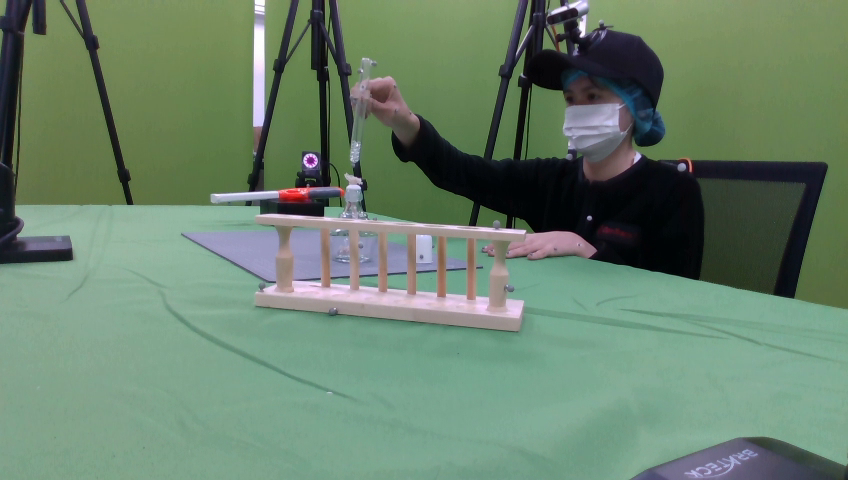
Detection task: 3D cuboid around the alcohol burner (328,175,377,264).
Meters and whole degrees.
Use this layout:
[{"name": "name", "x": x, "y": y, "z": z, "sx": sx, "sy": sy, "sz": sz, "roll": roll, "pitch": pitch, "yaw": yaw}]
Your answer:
[{"name": "alcohol burner", "x": -0.098, "y": -0.028, "z": 0.819, "sx": 0.078, "sy": 0.119, "sz": 0.078, "roll": 1, "pitch": 8, "yaw": 0}]

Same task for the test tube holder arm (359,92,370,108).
[{"name": "test tube holder arm", "x": -0.089, "y": -0.207, "z": 0.896, "sx": 0.010, "sy": 0.015, "sz": 0.087, "roll": 12, "pitch": 5, "yaw": -11}]

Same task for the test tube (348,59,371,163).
[{"name": "test tube", "x": -0.094, "y": -0.186, "z": 0.874, "sx": 0.017, "sy": 0.150, "sz": 0.017, "roll": 8, "pitch": 2, "yaw": 0}]

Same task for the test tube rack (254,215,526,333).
[{"name": "test tube rack", "x": -0.030, "y": 0.025, "z": 0.558, "sx": 0.242, "sy": 0.085, "sz": 0.067, "roll": 4, "pitch": 7, "yaw": 12}]

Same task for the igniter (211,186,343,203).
[{"name": "igniter", "x": -0.300, "y": -0.095, "z": 1.266, "sx": 0.278, "sy": 0.025, "sz": 0.057, "roll": -6, "pitch": 12, "yaw": -34}]

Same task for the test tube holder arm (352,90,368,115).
[{"name": "test tube holder arm", "x": -0.099, "y": -0.213, "z": 0.940, "sx": 0.013, "sy": 0.015, "sz": 0.178, "roll": 13, "pitch": 4, "yaw": -4}]

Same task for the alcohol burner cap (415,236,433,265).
[{"name": "alcohol burner cap", "x": -0.004, "y": 0.011, "z": 0.835, "sx": 0.034, "sy": 0.048, "sz": 0.034, "roll": 2, "pitch": 7, "yaw": 0}]
